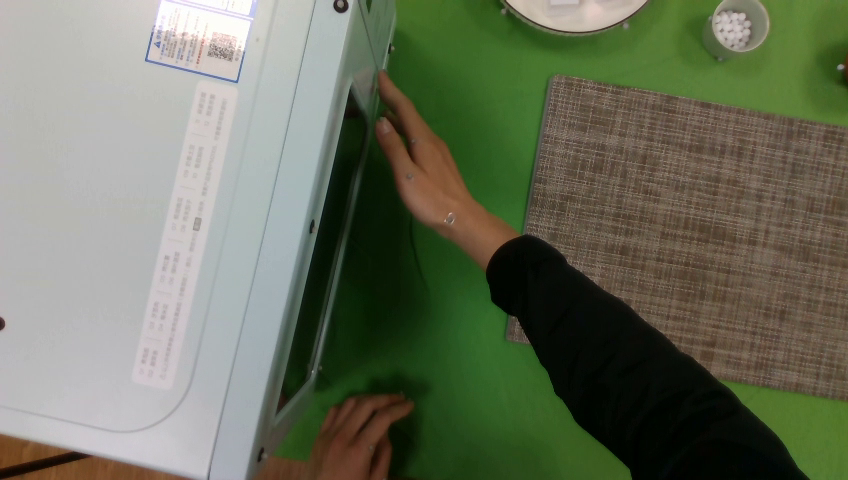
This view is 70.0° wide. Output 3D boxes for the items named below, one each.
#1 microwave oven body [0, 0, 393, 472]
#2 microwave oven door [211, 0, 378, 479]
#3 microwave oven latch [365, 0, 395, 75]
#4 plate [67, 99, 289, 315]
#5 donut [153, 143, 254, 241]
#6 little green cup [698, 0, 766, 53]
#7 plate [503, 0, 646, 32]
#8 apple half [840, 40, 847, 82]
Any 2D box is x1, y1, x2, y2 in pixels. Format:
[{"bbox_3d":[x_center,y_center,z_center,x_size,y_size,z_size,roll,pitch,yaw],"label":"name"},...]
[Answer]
[{"bbox_3d":[-0.236,-0.078,0.542,0.326,0.260,0.441,13,91,-1],"label":"microwave oven body"},{"bbox_3d":[-0.104,-0.004,0.540,0.039,0.243,0.355,13,91,0],"label":"microwave oven door"},{"bbox_3d":[-0.052,-0.218,0.637,0.030,0.029,0.079,15,91,-1],"label":"microwave oven latch"},{"bbox_3d":[-0.236,-0.031,0.594,0.209,0.038,0.209,0,91,-2],"label":"plate"},{"bbox_3d":[-0.214,-0.045,0.589,0.099,0.048,0.099,3,112,7],"label":"donut"},{"bbox_3d":[0.333,-0.235,0.660,0.061,0.038,0.061,0,90,0],"label":"little green cup"},{"bbox_3d":[0.161,-0.326,0.657,0.208,0.039,0.207,0,91,-1],"label":"plate"},{"bbox_3d":[0.479,-0.198,0.646,0.053,0.074,0.081,2,94,4],"label":"apple half"}]
